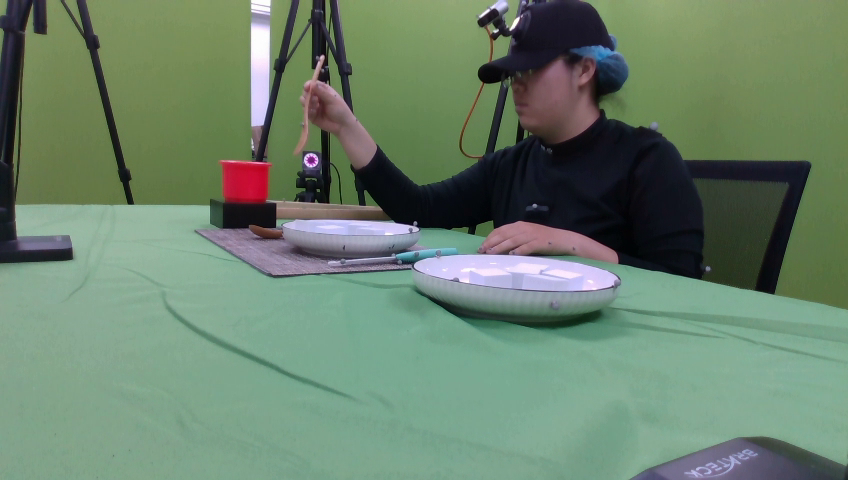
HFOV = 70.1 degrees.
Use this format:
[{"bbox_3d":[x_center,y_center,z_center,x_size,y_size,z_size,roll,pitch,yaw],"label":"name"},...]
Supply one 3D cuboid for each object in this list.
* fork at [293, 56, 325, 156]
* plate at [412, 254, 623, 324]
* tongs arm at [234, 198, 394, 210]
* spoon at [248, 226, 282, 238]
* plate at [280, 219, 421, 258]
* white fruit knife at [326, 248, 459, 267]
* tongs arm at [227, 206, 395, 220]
[{"bbox_3d":[-0.215,-0.254,1.141,0.019,0.207,0.028,16,-11,-32],"label":"fork"},{"bbox_3d":[0.091,0.047,0.609,0.209,0.038,0.209,2,7,0],"label":"plate"},{"bbox_3d":[-0.263,-0.076,1.460,0.386,0.026,0.050,3,8,-8],"label":"tongs arm"},{"bbox_3d":[-0.198,-0.015,1.024,0.195,0.021,0.041,-2,-9,-30],"label":"spoon"},{"bbox_3d":[-0.108,-0.002,0.902,0.208,0.039,0.207,3,7,0],"label":"plate"},{"bbox_3d":[-0.034,0.026,0.807,0.208,0.016,0.027,-4,-19,-34],"label":"white fruit knife"},{"bbox_3d":[-0.247,-0.061,1.382,0.389,0.028,0.028,0,5,-21],"label":"tongs arm"}]
